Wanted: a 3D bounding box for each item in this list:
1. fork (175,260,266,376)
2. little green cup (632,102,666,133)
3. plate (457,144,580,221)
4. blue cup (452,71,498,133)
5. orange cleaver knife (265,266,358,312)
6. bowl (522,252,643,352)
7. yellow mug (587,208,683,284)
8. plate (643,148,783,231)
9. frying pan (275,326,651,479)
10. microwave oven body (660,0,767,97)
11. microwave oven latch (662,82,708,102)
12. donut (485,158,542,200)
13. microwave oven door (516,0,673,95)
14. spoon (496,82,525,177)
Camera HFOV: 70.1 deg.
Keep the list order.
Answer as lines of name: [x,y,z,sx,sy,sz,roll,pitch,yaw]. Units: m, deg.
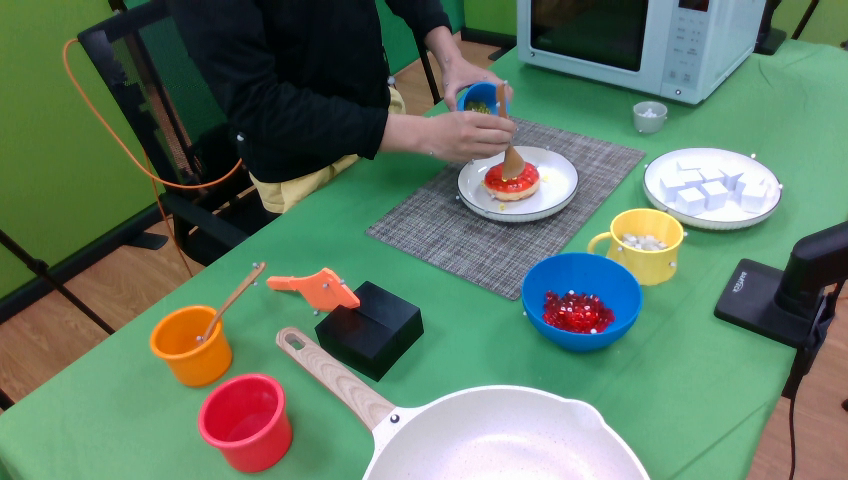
fork: [-0.268,0.103,0.792,0.207,0.019,0.028,-51,41,16]
little green cup: [0.434,-0.237,1.171,0.061,0.039,0.061,-5,40,5]
plate: [0.162,-0.097,1.042,0.209,0.038,0.208,-4,40,4]
blue cup: [0.088,-0.229,1.056,0.093,0.100,0.092,0,85,-2]
orange cleaver knife: [-0.164,0.073,0.864,0.210,0.077,0.012,-6,30,50]
bowl: [0.204,0.093,0.792,0.151,0.077,0.150,-4,40,4]
yellow mug: [0.305,0.009,0.884,0.131,0.064,0.099,-4,40,5]
plate: [0.464,-0.079,0.985,0.207,0.039,0.206,-4,40,4]
frying pan: [0.003,0.229,0.641,0.484,0.103,0.308,34,54,28]
microwave oven body: [0.473,-0.517,1.313,0.438,0.261,0.327,26,51,34]
microwave oven latch: [0.517,-0.298,1.203,0.078,0.029,0.030,28,52,35]
donut: [0.153,-0.108,1.040,0.099,0.048,0.098,-6,39,5]
microwave oven door: [0.344,-0.458,1.256,0.353,0.245,0.039,26,52,33]
spoon: [0.124,-0.160,0.909,0.041,0.195,0.021,-22,48,-1]
